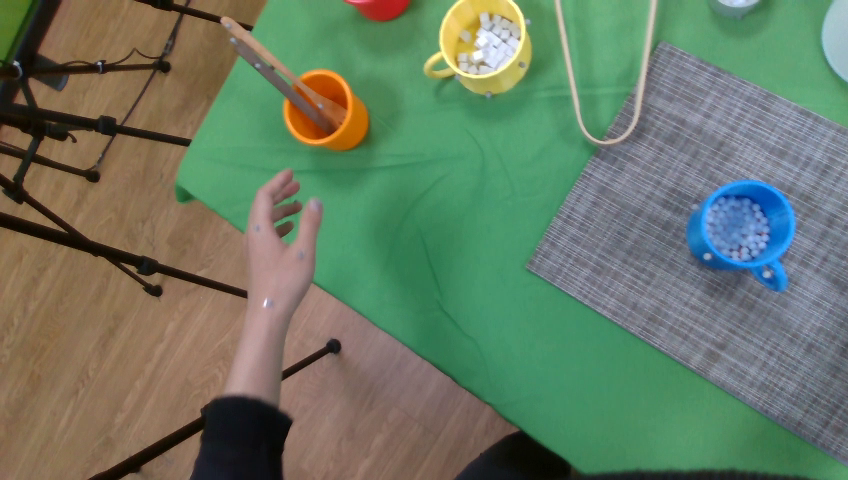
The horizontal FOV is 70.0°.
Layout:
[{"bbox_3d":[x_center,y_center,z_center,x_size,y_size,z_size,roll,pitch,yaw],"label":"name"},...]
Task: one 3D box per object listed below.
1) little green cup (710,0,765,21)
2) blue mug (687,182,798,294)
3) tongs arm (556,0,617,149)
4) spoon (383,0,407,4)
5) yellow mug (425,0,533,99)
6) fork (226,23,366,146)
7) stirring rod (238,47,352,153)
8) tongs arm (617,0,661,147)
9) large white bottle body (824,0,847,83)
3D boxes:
[{"bbox_3d":[0.343,-0.272,0.662,0.061,0.039,0.061,-1,87,16],"label":"little green cup"},{"bbox_3d":[0.326,0.004,0.612,0.082,0.106,0.116,-34,79,11],"label":"blue mug"},{"bbox_3d":[0.171,-0.293,0.691,0.050,0.026,0.384,-8,92,12],"label":"tongs arm"},{"bbox_3d":[-0.104,-0.328,0.735,0.195,0.021,0.041,7,86,-28],"label":"spoon"},{"bbox_3d":[0.062,-0.220,0.723,0.131,0.064,0.099,-21,82,15],"label":"yellow mug"},{"bbox_3d":[-0.152,-0.187,0.736,0.028,0.018,0.209,-47,120,8],"label":"fork"},{"bbox_3d":[-0.154,-0.167,0.739,0.014,0.178,0.005,-52,31,-7],"label":"stirring rod"},{"bbox_3d":[0.252,-0.297,0.672,0.028,0.028,0.388,6,95,8],"label":"tongs arm"},{"bbox_3d":[0.465,-0.220,0.549,0.130,0.185,0.130,-1,86,16],"label":"large white bottle body"}]
